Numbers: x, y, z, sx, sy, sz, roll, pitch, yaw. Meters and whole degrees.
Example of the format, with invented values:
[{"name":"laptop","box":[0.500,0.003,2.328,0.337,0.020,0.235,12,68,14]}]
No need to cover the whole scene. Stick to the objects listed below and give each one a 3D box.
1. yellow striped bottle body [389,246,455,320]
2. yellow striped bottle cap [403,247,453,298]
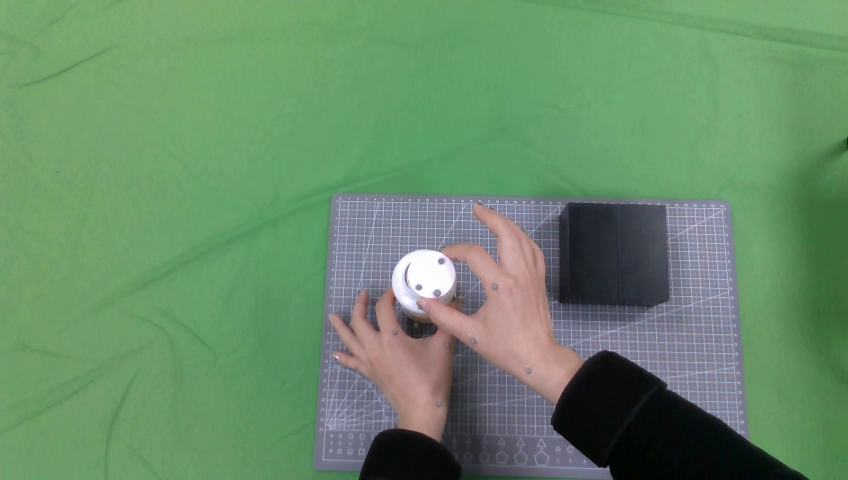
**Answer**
[{"name":"yellow striped bottle body","box":[-0.001,0.044,0.608,0.063,0.121,0.062,0,77,1]},{"name":"yellow striped bottle cap","box":[0.004,0.029,0.543,0.044,0.019,0.044,1,79,-6]}]
